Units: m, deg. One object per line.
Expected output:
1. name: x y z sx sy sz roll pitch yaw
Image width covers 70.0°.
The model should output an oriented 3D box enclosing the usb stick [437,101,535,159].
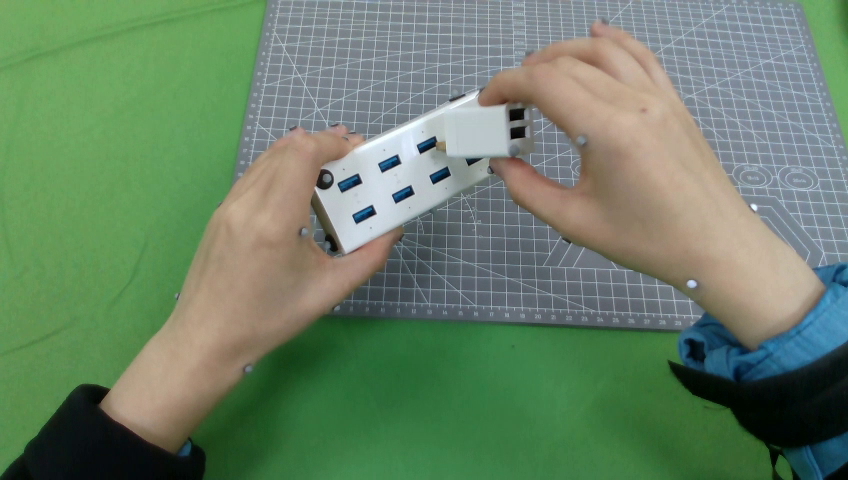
1. usb stick: 0.028 -0.055 0.312 0.021 0.059 0.027 -15 102 -37

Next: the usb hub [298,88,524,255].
1. usb hub: -0.004 -0.041 0.343 0.125 0.025 0.050 -29 104 -21
